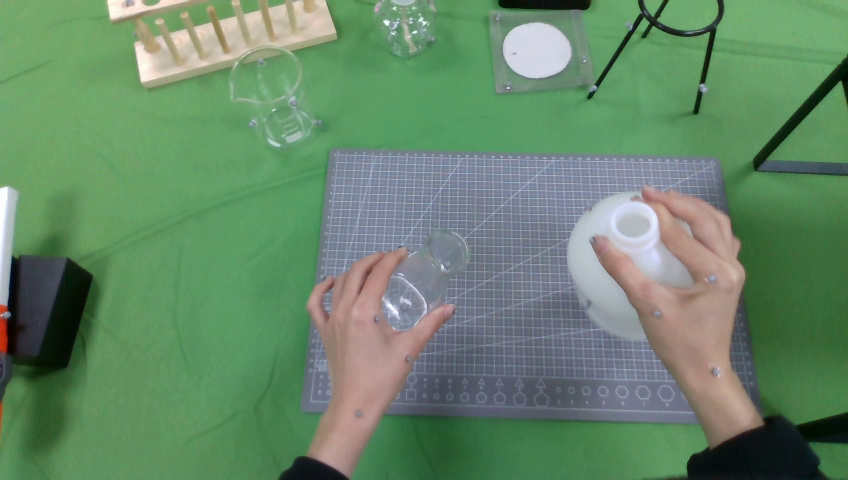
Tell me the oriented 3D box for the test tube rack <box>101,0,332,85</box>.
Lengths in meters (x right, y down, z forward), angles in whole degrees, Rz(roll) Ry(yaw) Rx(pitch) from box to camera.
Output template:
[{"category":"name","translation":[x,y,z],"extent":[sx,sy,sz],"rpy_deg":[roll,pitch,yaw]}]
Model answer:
[{"category":"test tube rack","translation":[-0.242,-0.269,0.727],"extent":[0.242,0.086,0.066],"rpy_deg":[-17,69,-7]}]

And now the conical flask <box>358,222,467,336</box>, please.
[{"category":"conical flask","translation":[-0.005,0.028,0.506],"extent":[0.076,0.122,0.074],"rpy_deg":[10,60,-18]}]

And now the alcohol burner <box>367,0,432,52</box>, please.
[{"category":"alcohol burner","translation":[-0.030,-0.282,0.718],"extent":[0.078,0.120,0.077],"rpy_deg":[1,65,-1]}]

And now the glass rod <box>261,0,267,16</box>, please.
[{"category":"glass rod","translation":[-0.193,-0.326,0.678],"extent":[0.008,0.201,0.008],"rpy_deg":[2,66,-4]}]

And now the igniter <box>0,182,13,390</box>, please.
[{"category":"igniter","translation":[-0.413,0.071,0.567],"extent":[0.057,0.025,0.274],"rpy_deg":[-14,67,6]}]

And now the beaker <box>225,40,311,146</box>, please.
[{"category":"beaker","translation":[-0.170,-0.156,0.673],"extent":[0.084,0.101,0.073],"rpy_deg":[-39,72,-14]}]

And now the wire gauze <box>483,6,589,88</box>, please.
[{"category":"wire gauze","translation":[0.138,-0.246,0.759],"extent":[0.121,0.011,0.124],"rpy_deg":[-3,67,-2]}]

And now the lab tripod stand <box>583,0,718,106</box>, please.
[{"category":"lab tripod stand","translation":[0.264,-0.228,0.684],"extent":[0.148,0.132,0.147],"rpy_deg":[1,67,-1]}]

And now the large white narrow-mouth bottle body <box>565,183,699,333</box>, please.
[{"category":"large white narrow-mouth bottle body","translation":[0.166,0.011,0.489],"extent":[0.101,0.196,0.101],"rpy_deg":[-6,70,19]}]

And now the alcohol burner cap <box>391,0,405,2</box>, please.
[{"category":"alcohol burner cap","translation":[-0.030,-0.299,0.685],"extent":[0.034,0.048,0.033],"rpy_deg":[4,67,-8]}]

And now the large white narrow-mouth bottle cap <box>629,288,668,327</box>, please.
[{"category":"large white narrow-mouth bottle cap","translation":[0.231,0.069,0.623],"extent":[0.038,0.024,0.037],"rpy_deg":[-1,67,2]}]
